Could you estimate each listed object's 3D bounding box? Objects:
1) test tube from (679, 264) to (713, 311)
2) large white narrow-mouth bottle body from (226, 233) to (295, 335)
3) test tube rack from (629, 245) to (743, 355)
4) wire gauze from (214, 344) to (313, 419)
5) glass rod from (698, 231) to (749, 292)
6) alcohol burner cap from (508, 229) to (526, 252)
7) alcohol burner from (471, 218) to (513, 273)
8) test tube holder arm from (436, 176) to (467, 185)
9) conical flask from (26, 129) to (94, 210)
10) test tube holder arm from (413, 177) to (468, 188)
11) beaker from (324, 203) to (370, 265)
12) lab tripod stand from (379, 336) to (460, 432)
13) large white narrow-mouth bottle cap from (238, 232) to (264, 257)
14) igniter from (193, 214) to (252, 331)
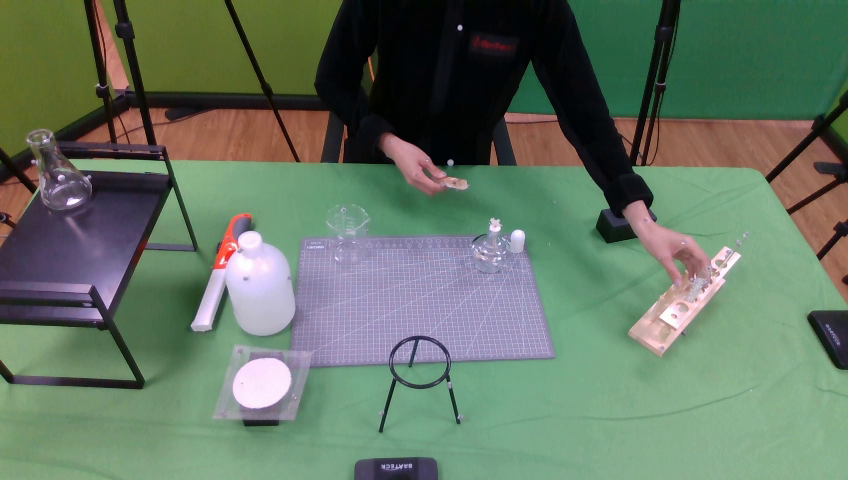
[{"bbox_3d":[0.453,0.092,1.023,0.017,0.151,0.017,1,49,-1],"label":"test tube"},{"bbox_3d":[-0.270,0.065,0.995,0.102,0.195,0.101,2,46,-2],"label":"large white narrow-mouth bottle body"},{"bbox_3d":[0.474,0.095,1.091,0.242,0.085,0.066,-34,56,-31],"label":"test tube rack"},{"bbox_3d":[-0.241,0.213,0.915,0.121,0.011,0.124,5,46,1],"label":"wire gauze"},{"bbox_3d":[0.514,0.044,1.051,0.008,0.200,0.008,1,55,-1],"label":"glass rod"},{"bbox_3d":[0.185,-0.002,1.192,0.034,0.048,0.033,3,47,-3],"label":"alcohol burner cap"},{"bbox_3d":[0.128,0.005,1.132,0.078,0.120,0.077,0,47,0],"label":"alcohol burner"},{"bbox_3d":[0.052,-0.114,1.161,0.015,0.010,0.087,-7,14,-32],"label":"test tube holder arm"},{"bbox_3d":[-0.575,-0.113,0.946,0.075,0.122,0.075,2,46,-2],"label":"conical flask"},{"bbox_3d":[0.028,-0.115,1.199,0.015,0.013,0.177,-7,11,-32],"label":"test tube holder arm"},{"bbox_3d":[-0.142,-0.009,1.137,0.084,0.101,0.073,-3,47,-7],"label":"beaker"},{"bbox_3d":[-0.010,0.214,0.911,0.148,0.132,0.147,1,45,-1],"label":"lab tripod stand"},{"bbox_3d":[-0.266,0.006,0.932,0.038,0.024,0.037,2,46,-2],"label":"large white narrow-mouth bottle cap"},{"bbox_3d":[-0.368,0.050,1.119,0.057,0.025,0.275,-3,46,7],"label":"igniter"}]
